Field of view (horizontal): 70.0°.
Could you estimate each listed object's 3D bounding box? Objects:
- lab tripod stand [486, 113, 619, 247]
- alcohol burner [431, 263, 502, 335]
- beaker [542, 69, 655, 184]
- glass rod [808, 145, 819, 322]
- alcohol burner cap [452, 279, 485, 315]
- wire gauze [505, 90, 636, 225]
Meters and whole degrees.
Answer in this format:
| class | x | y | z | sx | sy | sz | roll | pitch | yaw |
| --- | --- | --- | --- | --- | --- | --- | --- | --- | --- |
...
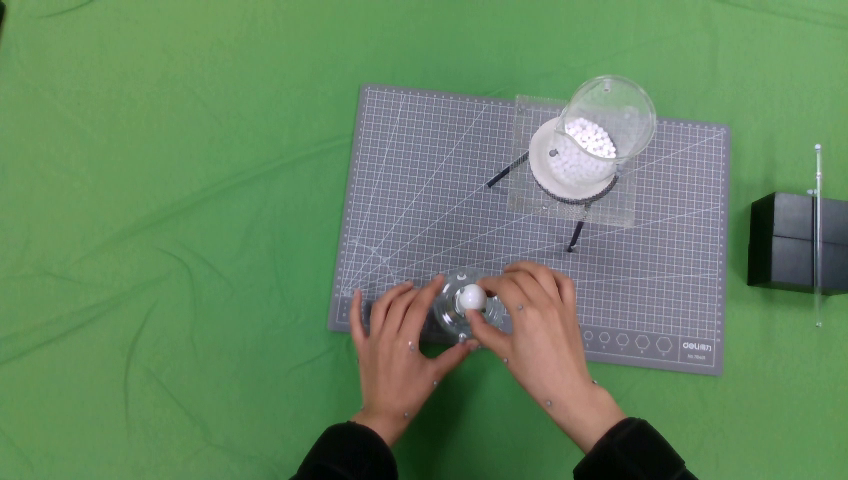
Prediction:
| class | x | y | z | sx | sy | sz | roll | pitch | yaw |
| --- | --- | --- | --- | --- | --- | --- | --- | --- | --- |
| lab tripod stand | 0.146 | -0.074 | 0.651 | 0.148 | 0.132 | 0.147 | 0 | 79 | -1 |
| alcohol burner | 0.046 | 0.061 | 0.637 | 0.078 | 0.119 | 0.077 | 0 | 83 | -2 |
| beaker | 0.147 | -0.094 | 0.540 | 0.084 | 0.100 | 0.073 | -9 | 80 | -3 |
| glass rod | 0.429 | -0.009 | 0.666 | 0.008 | 0.008 | 0.199 | 7 | 81 | 0 |
| alcohol burner cap | 0.045 | 0.055 | 0.602 | 0.034 | 0.048 | 0.033 | 0 | 75 | 0 |
| wire gauze | 0.143 | -0.082 | 0.586 | 0.125 | 0.011 | 0.121 | 8 | 81 | -3 |
